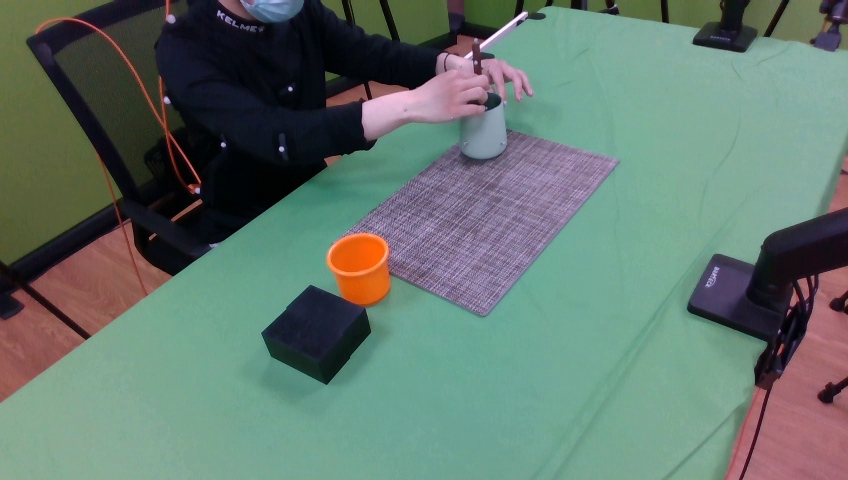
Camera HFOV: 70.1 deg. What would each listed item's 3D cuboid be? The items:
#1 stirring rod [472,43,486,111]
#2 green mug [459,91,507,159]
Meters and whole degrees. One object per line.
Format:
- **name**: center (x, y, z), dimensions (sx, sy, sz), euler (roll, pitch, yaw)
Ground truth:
- **stirring rod**: center (0.100, -0.268, 1.081), dimensions (0.014, 0.177, 0.006), euler (-12, 40, -1)
- **green mug**: center (0.117, -0.225, 1.144), dimensions (0.092, 0.105, 0.125), euler (14, 45, 24)
